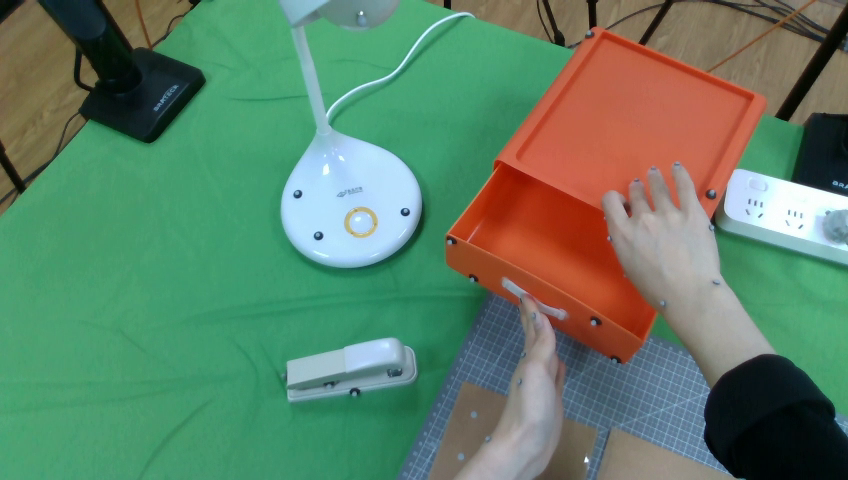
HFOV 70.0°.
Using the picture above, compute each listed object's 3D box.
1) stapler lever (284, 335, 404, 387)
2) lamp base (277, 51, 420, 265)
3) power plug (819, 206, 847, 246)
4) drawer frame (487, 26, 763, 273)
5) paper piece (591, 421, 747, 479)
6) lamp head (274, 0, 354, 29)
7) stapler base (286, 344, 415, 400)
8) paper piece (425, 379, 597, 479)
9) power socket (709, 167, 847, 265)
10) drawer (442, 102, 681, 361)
[{"bbox_3d":[-0.078,0.115,0.577,0.118,0.040,0.026,-9,59,-1],"label":"stapler lever"},{"bbox_3d":[-0.094,-0.089,0.624,0.161,0.182,0.177,-27,62,-12],"label":"lamp base"},{"bbox_3d":[0.422,-0.004,0.624,0.035,0.053,0.072,28,67,15],"label":"power plug"},{"bbox_3d":[0.202,-0.093,0.624,0.200,0.083,0.213,29,66,16],"label":"drawer frame"},{"bbox_3d":[0.209,0.250,0.534,0.135,0.004,0.135,22,65,12],"label":"paper piece"},{"bbox_3d":[-0.062,-0.202,0.356,0.112,0.112,0.123,-34,105,-15],"label":"lamp head"},{"bbox_3d":[-0.075,0.127,0.600,0.130,0.024,0.041,-9,59,-1],"label":"stapler base"},{"bbox_3d":[0.076,0.212,0.558,0.135,0.009,0.137,18,65,14],"label":"paper piece"},{"bbox_3d":[0.424,-0.020,0.658,0.226,0.033,0.072,17,65,10],"label":"power socket"},{"bbox_3d":[0.153,-0.022,0.589,0.193,0.074,0.211,29,66,16],"label":"drawer"}]
